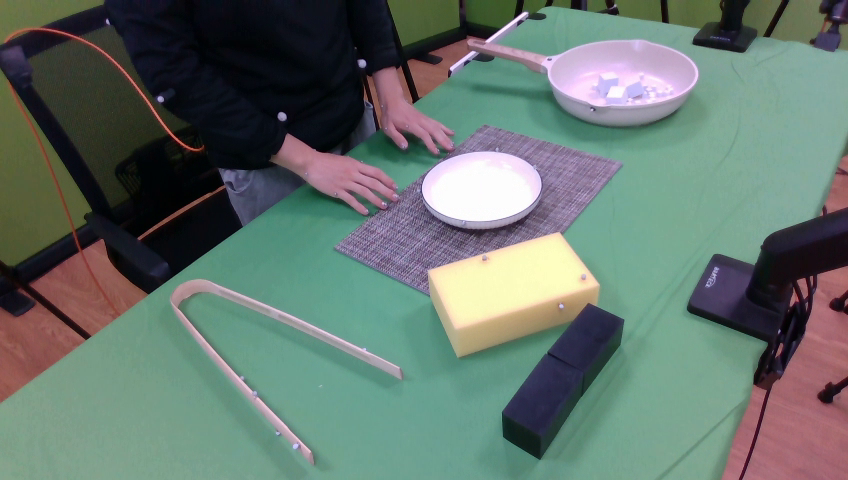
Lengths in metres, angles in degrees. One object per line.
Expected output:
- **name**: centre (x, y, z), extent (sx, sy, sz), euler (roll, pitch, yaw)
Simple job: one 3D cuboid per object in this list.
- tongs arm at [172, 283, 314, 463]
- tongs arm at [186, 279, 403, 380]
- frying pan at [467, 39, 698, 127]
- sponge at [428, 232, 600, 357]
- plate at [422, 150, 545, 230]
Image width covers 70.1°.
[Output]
- **tongs arm**: centre (-0.246, 0.161, 0.806), extent (0.381, 0.026, 0.051), euler (29, 51, 36)
- **tongs arm**: centre (-0.193, 0.120, 0.853), extent (0.385, 0.028, 0.028), euler (18, 49, 26)
- **frying pan**: centre (0.312, -0.359, 1.277), extent (0.485, 0.103, 0.307), euler (23, 48, 19)
- **sponge**: centre (0.120, 0.071, 0.834), extent (0.207, 0.061, 0.117), euler (-15, 43, -12)
- **plate**: centre (0.101, -0.082, 1.031), extent (0.207, 0.039, 0.206), euler (-4, 40, 4)
